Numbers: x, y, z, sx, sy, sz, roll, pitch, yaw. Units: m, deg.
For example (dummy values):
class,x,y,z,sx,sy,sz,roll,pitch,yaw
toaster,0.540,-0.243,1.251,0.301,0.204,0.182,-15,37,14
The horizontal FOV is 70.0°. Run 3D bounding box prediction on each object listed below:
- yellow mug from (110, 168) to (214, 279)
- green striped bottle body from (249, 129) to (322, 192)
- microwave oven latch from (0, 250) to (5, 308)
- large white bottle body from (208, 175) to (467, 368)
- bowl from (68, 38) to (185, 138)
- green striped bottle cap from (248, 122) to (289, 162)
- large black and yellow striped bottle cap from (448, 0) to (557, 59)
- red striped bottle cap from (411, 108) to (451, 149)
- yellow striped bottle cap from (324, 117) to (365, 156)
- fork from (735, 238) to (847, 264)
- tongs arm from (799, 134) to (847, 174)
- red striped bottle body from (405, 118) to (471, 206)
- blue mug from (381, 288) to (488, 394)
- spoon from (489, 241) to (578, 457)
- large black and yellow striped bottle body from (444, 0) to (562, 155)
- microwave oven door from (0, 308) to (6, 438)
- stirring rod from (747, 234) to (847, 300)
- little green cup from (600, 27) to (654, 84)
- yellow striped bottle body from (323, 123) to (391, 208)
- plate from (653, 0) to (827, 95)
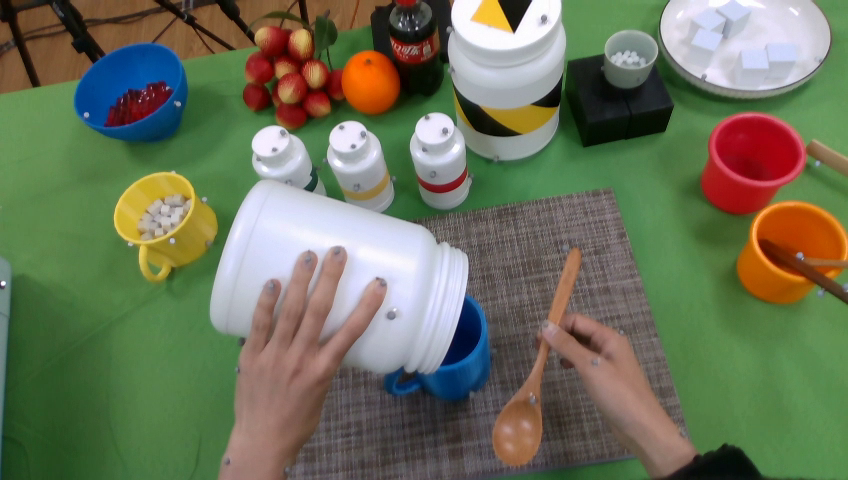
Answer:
class,x,y,z,sx,sy,sz,roll,pitch,yaw
yellow mug,-0.320,-0.016,0.737,0.100,0.064,0.130,0,63,7
green striped bottle body,-0.166,-0.086,0.722,0.063,0.120,0.062,-3,62,6
microwave oven latch,-0.524,0.046,0.726,0.030,0.030,0.078,-16,63,-1
large white bottle body,-0.068,0.032,0.506,0.185,0.131,0.129,17,64,-8
bowl,-0.391,-0.194,0.832,0.151,0.077,0.150,-3,62,6
green striped bottle cap,-0.174,-0.110,0.677,0.044,0.020,0.044,-2,61,5
large black and yellow striped bottle cap,0.082,-0.240,0.636,0.115,0.019,0.114,-4,64,9
red striped bottle cap,0.008,-0.122,0.658,0.044,0.018,0.044,-1,60,3
yellow striped bottle cap,-0.087,-0.114,0.667,0.044,0.019,0.044,-1,58,2
fork,0.394,0.020,0.577,0.028,0.019,0.206,-45,22,-14
tongs arm,0.588,-0.017,0.634,0.050,0.027,0.381,-41,66,-18
red striped bottle body,0.016,-0.096,0.705,0.063,0.121,0.062,-6,59,11
blue mug,0.008,0.110,0.601,0.116,0.107,0.081,-35,63,-11
spoon,0.102,0.093,0.527,0.041,0.022,0.193,19,88,16
large black and yellow striped bottle body,0.092,-0.201,0.712,0.130,0.185,0.129,-3,62,6
microwave oven door,-0.478,0.182,0.535,0.039,0.246,0.352,-18,62,-1
stirring rod,0.364,0.024,0.587,0.014,0.006,0.175,-7,19,1
little green cup,0.241,-0.219,0.727,0.061,0.039,0.061,-2,60,4
yellow striped bottle body,-0.080,-0.091,0.713,0.063,0.121,0.062,-3,62,7
plate,0.403,-0.267,0.789,0.209,0.038,0.207,-3,63,6
